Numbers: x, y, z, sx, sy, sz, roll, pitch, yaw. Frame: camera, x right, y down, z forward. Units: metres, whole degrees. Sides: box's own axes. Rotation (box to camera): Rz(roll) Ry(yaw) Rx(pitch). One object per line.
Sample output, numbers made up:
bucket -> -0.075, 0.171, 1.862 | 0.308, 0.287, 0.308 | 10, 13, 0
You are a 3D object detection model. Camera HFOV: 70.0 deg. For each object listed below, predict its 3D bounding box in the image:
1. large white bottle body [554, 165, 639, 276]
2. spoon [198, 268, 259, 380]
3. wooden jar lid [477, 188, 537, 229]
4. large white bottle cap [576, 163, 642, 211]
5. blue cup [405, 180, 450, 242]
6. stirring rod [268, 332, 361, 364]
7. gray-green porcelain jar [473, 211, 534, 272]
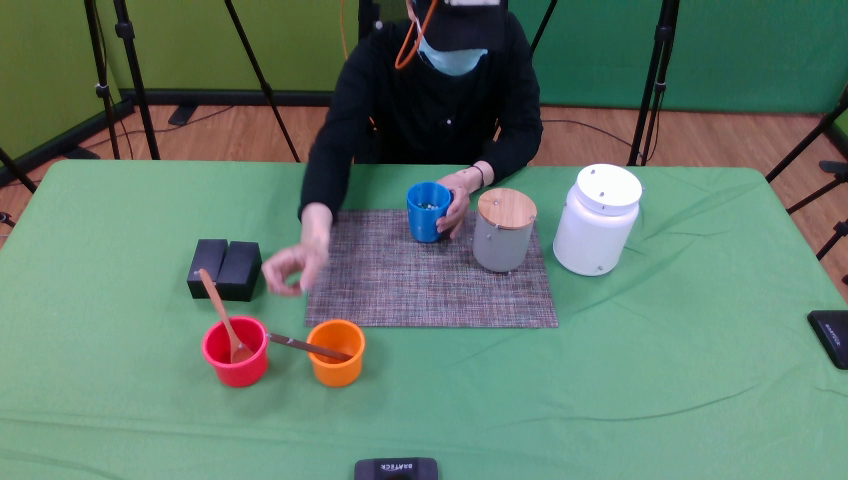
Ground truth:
large white bottle body -> 0.326, -0.037, 1.141 | 0.131, 0.185, 0.130 | 2, 46, -2
spoon -> -0.312, 0.133, 0.962 | 0.041, 0.021, 0.194 | -24, 96, -20
wooden jar lid -> 0.149, -0.054, 1.094 | 0.108, 0.021, 0.107 | 4, 45, -4
large white bottle cap -> 0.330, -0.096, 1.081 | 0.115, 0.018, 0.114 | 2, 46, -2
blue cup -> 0.006, -0.051, 1.176 | 0.093, 0.101, 0.092 | 1, 46, -1
stirring rod -> -0.167, 0.169, 0.941 | 0.177, 0.006, 0.014 | 26, 27, -41
gray-green porcelain jar -> 0.147, -0.010, 1.139 | 0.106, 0.127, 0.105 | 2, 46, -2
